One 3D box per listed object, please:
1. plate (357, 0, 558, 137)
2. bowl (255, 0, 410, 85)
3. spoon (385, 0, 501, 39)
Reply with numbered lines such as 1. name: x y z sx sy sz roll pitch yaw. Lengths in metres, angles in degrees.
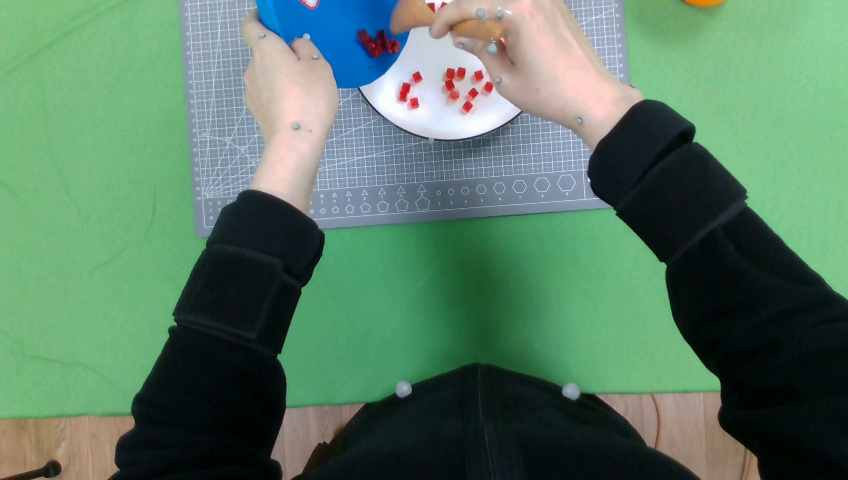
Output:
1. plate: 0.025 -0.204 0.595 0.209 0.038 0.209 0 91 3
2. bowl: -0.086 -0.211 0.504 0.076 0.153 0.151 23 92 38
3. spoon: 0.010 -0.165 0.445 0.022 0.191 0.041 27 100 -35
